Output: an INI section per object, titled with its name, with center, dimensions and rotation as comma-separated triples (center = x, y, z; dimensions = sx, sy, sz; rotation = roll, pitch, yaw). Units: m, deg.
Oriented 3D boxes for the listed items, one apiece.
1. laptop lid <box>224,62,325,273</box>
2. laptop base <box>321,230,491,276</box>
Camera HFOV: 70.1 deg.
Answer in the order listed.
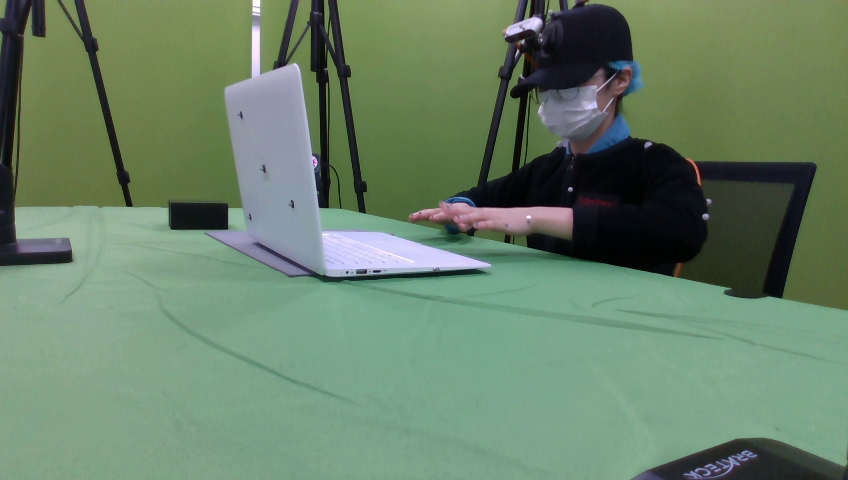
[laptop lid]
center = -0.210, -0.097, 0.804
dimensions = 0.013, 0.241, 0.355
rotation = -12, 15, -28
[laptop base]
center = -0.095, 0.015, 0.888
dimensions = 0.237, 0.023, 0.352
rotation = 2, 7, -30
